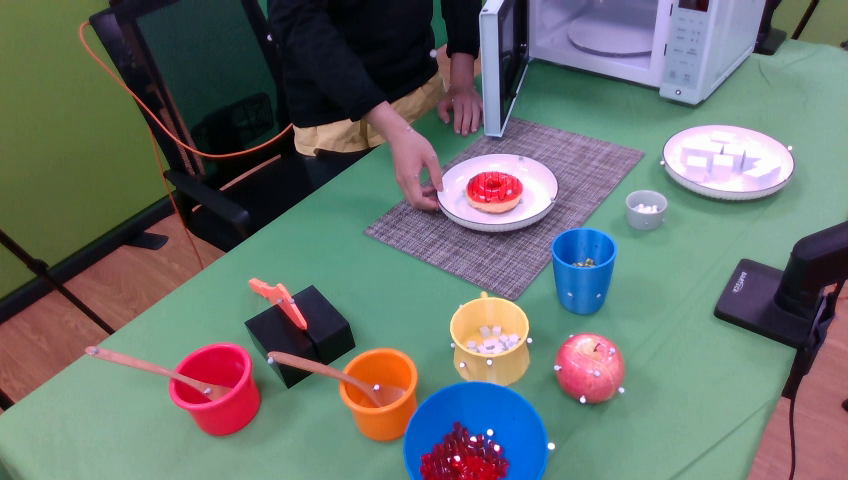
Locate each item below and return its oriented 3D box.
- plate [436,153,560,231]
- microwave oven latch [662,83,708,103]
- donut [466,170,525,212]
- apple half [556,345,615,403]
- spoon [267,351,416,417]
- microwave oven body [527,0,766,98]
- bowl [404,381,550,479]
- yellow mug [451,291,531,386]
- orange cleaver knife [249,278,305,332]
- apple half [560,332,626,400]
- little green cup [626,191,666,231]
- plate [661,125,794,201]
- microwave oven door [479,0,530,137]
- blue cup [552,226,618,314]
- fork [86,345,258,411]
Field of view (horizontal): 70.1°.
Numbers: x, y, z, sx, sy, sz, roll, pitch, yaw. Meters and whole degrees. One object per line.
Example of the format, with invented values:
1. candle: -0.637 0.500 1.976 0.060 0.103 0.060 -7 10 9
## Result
1. plate: 0.125 -0.078 1.029 0.209 0.038 0.208 -4 40 4
2. microwave oven latch: 0.518 -0.296 1.204 0.078 0.029 0.030 28 52 35
3. donut: 0.120 -0.083 1.019 0.099 0.048 0.098 -4 38 3
4. apple half: 0.181 0.166 0.709 0.080 0.081 0.033 29 50 35
5. spoon: -0.091 0.163 0.699 0.021 0.195 0.041 -44 30 27
6. microwave oven body: 0.472 -0.513 1.317 0.438 0.261 0.327 26 51 34
7. bowl: 0.058 0.235 0.645 0.151 0.077 0.150 -4 39 4
8. yellow mug: 0.086 0.120 0.786 0.100 0.064 0.130 -7 39 2
9. orange cleaver knife: -0.210 0.089 0.855 0.012 0.077 0.210 -28 15 -25
10. apple half: 0.209 0.147 0.730 0.080 0.075 0.053 26 48 38
11. little green cup: 0.352 -0.046 0.963 0.061 0.039 0.061 -4 40 4
12. plate: 0.513 -0.128 1.035 0.207 0.039 0.206 -4 40 4
13. microwave oven door: 0.170 -0.408 1.232 0.039 0.245 0.355 6 42 16
14. blue cup: 0.218 0.047 0.825 0.092 0.100 0.092 -6 40 5
15. fork: -0.299 0.167 0.728 0.209 0.018 0.028 28 47 -23
